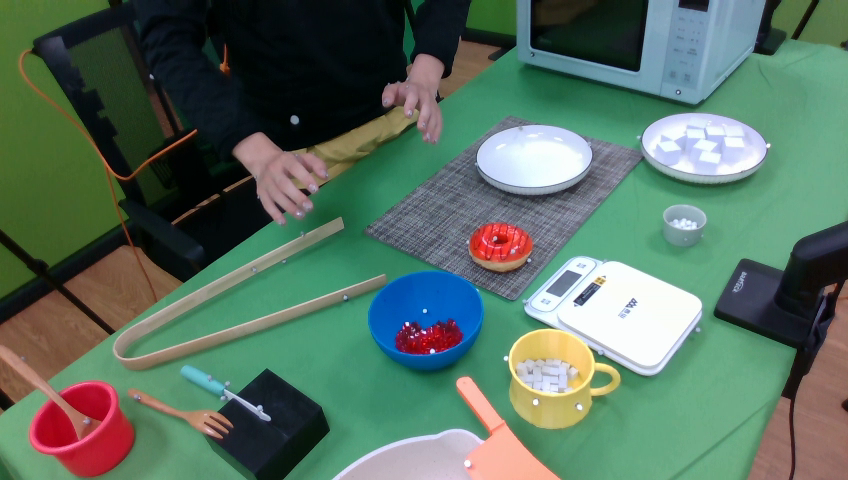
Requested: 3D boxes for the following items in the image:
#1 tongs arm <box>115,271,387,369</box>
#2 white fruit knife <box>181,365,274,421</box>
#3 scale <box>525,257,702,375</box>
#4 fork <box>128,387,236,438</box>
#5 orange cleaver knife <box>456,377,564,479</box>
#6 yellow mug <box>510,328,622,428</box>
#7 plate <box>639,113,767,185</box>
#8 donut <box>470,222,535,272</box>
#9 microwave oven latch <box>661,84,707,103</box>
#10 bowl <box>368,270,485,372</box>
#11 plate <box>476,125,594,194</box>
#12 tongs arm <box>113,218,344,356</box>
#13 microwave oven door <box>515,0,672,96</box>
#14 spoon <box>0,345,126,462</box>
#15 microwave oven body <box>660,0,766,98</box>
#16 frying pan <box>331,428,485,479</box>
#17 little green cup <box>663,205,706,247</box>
[{"bbox_3d":[-0.238,0.112,0.868,0.389,0.028,0.028,-18,47,-12],"label":"tongs arm"},{"bbox_3d":[-0.245,0.187,0.747,0.205,0.027,0.016,9,41,41],"label":"white fruit knife"},{"bbox_3d":[0.254,0.091,0.821,0.199,0.032,0.149,28,51,35],"label":"scale"},{"bbox_3d":[-0.305,0.208,0.744,0.206,0.019,0.028,3,43,36],"label":"fork"},{"bbox_3d":[0.081,0.220,0.611,0.077,0.012,0.209,-26,43,-22],"label":"orange cleaver knife"},{"bbox_3d":[0.169,0.164,0.722,0.130,0.064,0.099,0,40,8],"label":"yellow mug"},{"bbox_3d":[0.489,-0.157,1.074,0.207,0.039,0.206,-4,40,4],"label":"plate"},{"bbox_3d":[0.119,0.009,0.923,0.099,0.048,0.098,-4,38,3],"label":"donut"},{"bbox_3d":[0.517,-0.296,1.204,0.078,0.029,0.030,27,52,35],"label":"microwave oven latch"},{"bbox_3d":[0.007,0.118,0.791,0.151,0.077,0.150,-4,40,4],"label":"bowl"},{"bbox_3d":[0.199,-0.141,1.093,0.209,0.038,0.208,-4,40,4],"label":"plate"},{"bbox_3d":[-0.280,0.067,0.927,0.386,0.026,0.050,-28,47,-23],"label":"tongs arm"},{"bbox_3d":[0.343,-0.455,1.259,0.353,0.245,0.039,26,51,33],"label":"microwave oven door"},{"bbox_3d":[-0.434,0.192,0.720,0.194,0.021,0.042,47,53,-7],"label":"spoon"},{"bbox_3d":[0.472,-0.513,1.317,0.438,0.261,0.327,26,51,34],"label":"microwave oven body"},{"bbox_3d":[-0.089,0.306,0.564,0.487,0.103,0.306,10,41,7],"label":"frying pan"},{"bbox_3d":[0.396,-0.020,0.926,0.061,0.039,0.061,-4,40,4],"label":"little green cup"}]
